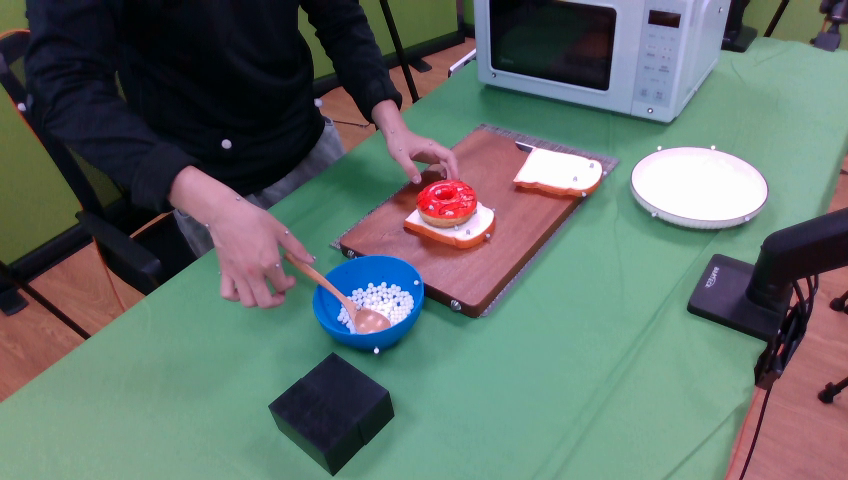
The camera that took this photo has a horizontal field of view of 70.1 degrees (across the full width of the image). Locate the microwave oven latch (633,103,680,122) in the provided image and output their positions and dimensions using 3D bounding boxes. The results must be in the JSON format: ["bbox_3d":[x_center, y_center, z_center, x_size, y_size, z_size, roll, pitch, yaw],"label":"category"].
[{"bbox_3d":[0.444,-0.249,1.157,0.078,0.029,0.030,21,49,30],"label":"microwave oven latch"}]

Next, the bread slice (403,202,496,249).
[{"bbox_3d":[0.048,-0.034,0.961,0.130,0.019,0.105,22,49,31],"label":"bread slice"}]

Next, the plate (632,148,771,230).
[{"bbox_3d":[0.447,-0.081,0.988,0.207,0.039,0.206,-4,40,4],"label":"plate"}]

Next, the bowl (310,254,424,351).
[{"bbox_3d":[-0.071,0.097,0.821,0.151,0.077,0.150,-4,40,4],"label":"bowl"}]

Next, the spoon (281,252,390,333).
[{"bbox_3d":[-0.122,0.070,0.812,0.193,0.022,0.042,38,65,15],"label":"spoon"}]

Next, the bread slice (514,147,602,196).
[{"bbox_3d":[0.233,-0.115,1.027,0.133,0.018,0.107,13,45,20],"label":"bread slice"}]

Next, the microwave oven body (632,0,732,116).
[{"bbox_3d":[0.377,-0.462,1.267,0.438,0.261,0.327,21,49,30],"label":"microwave oven body"}]

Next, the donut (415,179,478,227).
[{"bbox_3d":[0.036,-0.058,0.944,0.099,0.048,0.098,-4,40,4],"label":"donut"}]

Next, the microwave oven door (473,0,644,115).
[{"bbox_3d":[0.257,-0.396,1.199,0.353,0.245,0.039,21,48,29],"label":"microwave oven door"}]
